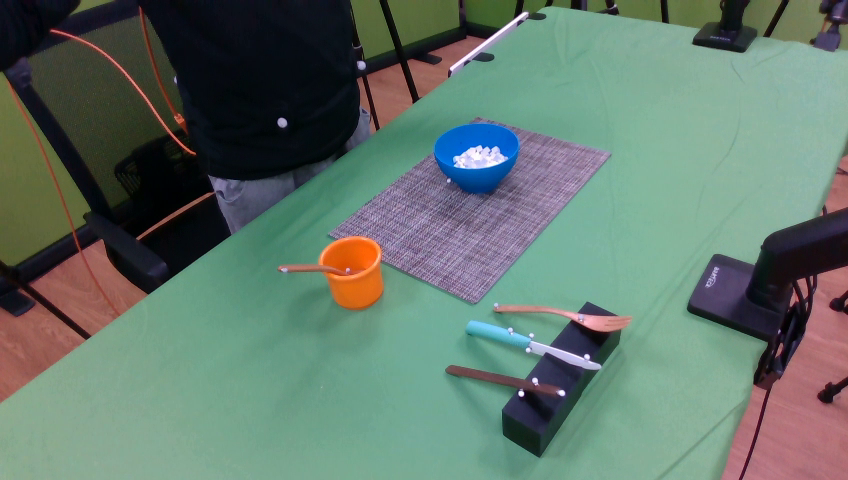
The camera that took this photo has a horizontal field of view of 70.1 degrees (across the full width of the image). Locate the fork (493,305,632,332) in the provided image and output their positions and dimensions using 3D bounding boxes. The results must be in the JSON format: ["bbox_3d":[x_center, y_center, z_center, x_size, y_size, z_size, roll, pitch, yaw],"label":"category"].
[{"bbox_3d":[0.171,0.097,0.783,0.205,0.019,0.028,4,41,43],"label":"fork"}]

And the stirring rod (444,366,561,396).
[{"bbox_3d":[0.088,0.166,0.718,0.175,0.006,0.014,-1,25,48],"label":"stirring rod"}]

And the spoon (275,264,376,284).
[{"bbox_3d":[-0.133,0.044,0.840,0.041,0.195,0.021,24,94,33],"label":"spoon"}]

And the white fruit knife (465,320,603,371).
[{"bbox_3d":[0.128,0.129,0.749,0.205,0.027,0.016,11,45,44],"label":"white fruit knife"}]

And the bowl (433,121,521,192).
[{"bbox_3d":[0.094,-0.137,1.064,0.151,0.077,0.150,-4,41,4],"label":"bowl"}]
